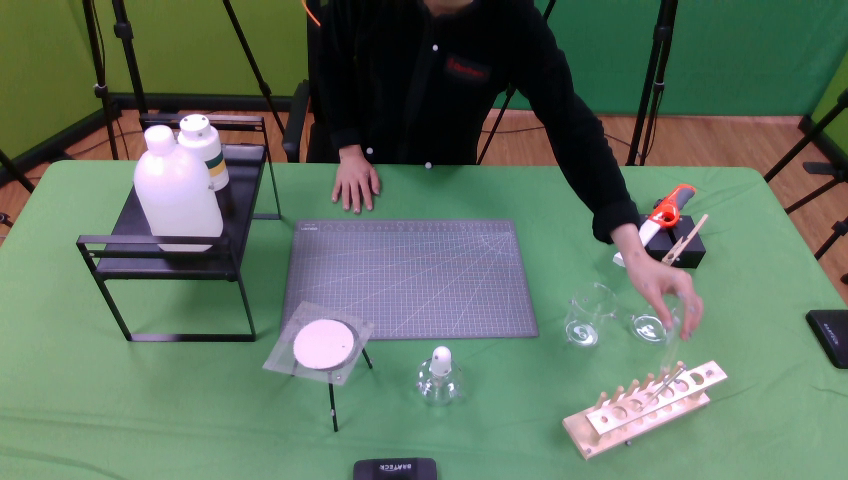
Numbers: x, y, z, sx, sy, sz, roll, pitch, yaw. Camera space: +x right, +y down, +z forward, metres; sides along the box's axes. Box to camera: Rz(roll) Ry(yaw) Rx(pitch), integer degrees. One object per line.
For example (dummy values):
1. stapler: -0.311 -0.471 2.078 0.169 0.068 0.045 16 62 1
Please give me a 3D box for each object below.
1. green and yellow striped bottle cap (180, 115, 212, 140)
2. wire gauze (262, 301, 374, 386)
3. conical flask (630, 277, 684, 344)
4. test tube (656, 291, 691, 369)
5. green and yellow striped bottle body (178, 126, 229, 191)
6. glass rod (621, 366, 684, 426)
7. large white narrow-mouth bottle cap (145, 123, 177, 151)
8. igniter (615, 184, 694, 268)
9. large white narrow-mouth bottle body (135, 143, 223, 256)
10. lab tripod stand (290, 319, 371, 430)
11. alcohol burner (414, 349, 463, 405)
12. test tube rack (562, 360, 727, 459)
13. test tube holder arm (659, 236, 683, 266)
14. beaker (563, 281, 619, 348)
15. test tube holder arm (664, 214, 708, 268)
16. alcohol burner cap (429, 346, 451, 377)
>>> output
1. green and yellow striped bottle cap: -0.358 -0.177 0.951 0.045 0.020 0.045 1 45 -1
2. wire gauze: -0.150 0.148 0.873 0.121 0.011 0.124 14 46 12
3. conical flask: 0.408 0.117 1.045 0.075 0.122 0.075 2 46 -2
4. test tube: 0.348 0.129 0.849 0.017 0.151 0.017 -1 39 1
5. green and yellow striped bottle body: -0.361 -0.142 0.989 0.063 0.120 0.063 2 46 -2
6. glass rod: 0.322 0.227 0.866 0.008 0.200 0.008 5 51 -7
7. large white narrow-mouth bottle cap: -0.354 -0.139 0.815 0.038 0.024 0.037 2 44 -1
8. igniter: 0.459 -0.035 1.196 0.057 0.025 0.276 32 55 27
9. large white narrow-mouth bottle body: -0.358 -0.075 0.874 0.102 0.195 0.101 2 44 -1
10. lab tripod stand: -0.146 0.194 0.923 0.148 0.132 0.147 1 47 -1
11. alcohol burner: 0.023 0.205 0.939 0.078 0.120 0.077 1 47 -1
12. test tube rack: 0.341 0.247 0.940 0.243 0.085 0.066 -16 49 -19
13. test tube holder arm: 0.472 0.020 1.149 0.010 0.015 0.088 36 55 26
14. beaker: 0.283 0.129 1.041 0.074 0.101 0.083 11 46 7
15. test tube holder arm: 0.507 -0.001 1.170 0.013 0.015 0.178 35 54 25
16. alcohol burner cap: 0.026 0.180 0.912 0.034 0.048 0.033 1 47 -1
